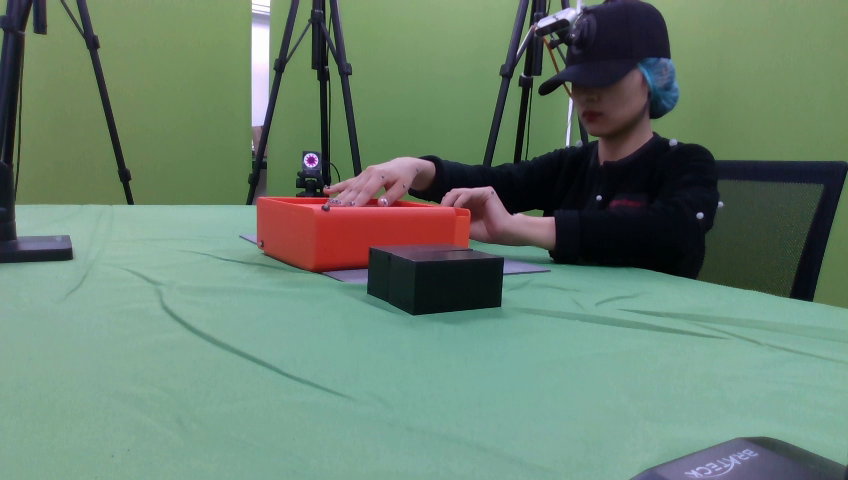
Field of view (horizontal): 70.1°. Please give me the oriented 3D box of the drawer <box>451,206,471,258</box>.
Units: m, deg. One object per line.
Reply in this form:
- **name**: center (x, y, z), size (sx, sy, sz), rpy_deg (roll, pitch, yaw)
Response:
- **drawer**: center (-0.073, -0.017, 0.859), size (0.213, 0.073, 0.193), rpy_deg (-3, 10, -34)

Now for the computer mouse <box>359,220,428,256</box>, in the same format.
- **computer mouse**: center (-0.045, -0.004, 0.868), size (0.063, 0.041, 0.116), rpy_deg (1, 13, -32)

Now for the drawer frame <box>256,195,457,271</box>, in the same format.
- **drawer frame**: center (-0.096, -0.017, 0.843), size (0.215, 0.082, 0.200), rpy_deg (-4, 10, -35)
